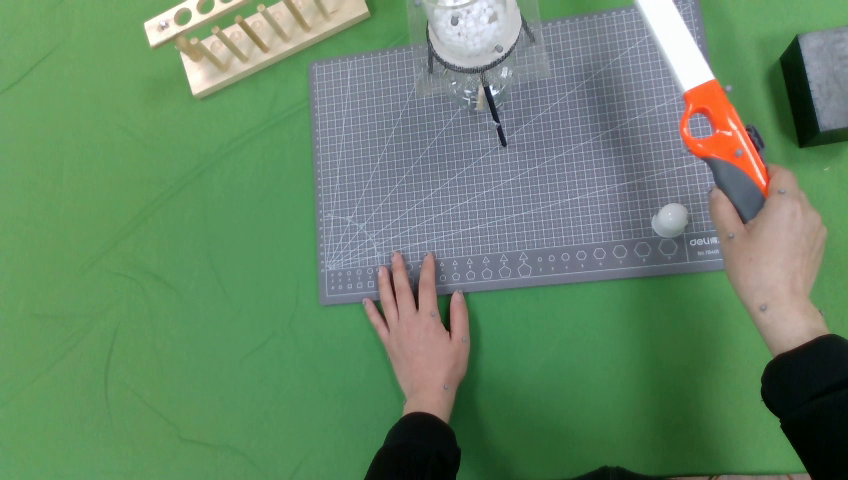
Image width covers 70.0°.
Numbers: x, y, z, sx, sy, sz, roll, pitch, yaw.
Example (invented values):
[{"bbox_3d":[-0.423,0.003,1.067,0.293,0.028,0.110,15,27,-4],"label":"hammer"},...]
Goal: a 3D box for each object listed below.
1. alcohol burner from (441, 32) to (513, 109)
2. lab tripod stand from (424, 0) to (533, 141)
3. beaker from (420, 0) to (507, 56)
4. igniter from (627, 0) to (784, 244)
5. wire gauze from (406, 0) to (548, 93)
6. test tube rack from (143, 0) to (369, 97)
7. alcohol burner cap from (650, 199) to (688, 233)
[{"bbox_3d":[0.054,-0.184,0.636,0.078,0.120,0.077,-2,80,10],"label":"alcohol burner"},{"bbox_3d":[0.059,-0.190,0.625,0.148,0.132,0.148,-1,82,10],"label":"lab tripod stand"},{"bbox_3d":[0.030,-0.209,0.516,0.084,0.101,0.074,7,83,13],"label":"beaker"},{"bbox_3d":[0.243,-0.127,0.538,0.057,0.025,0.275,-24,74,14],"label":"igniter"},{"bbox_3d":[0.046,-0.201,0.562,0.125,0.011,0.121,-6,84,8],"label":"wire gauze"},{"bbox_3d":[-0.196,-0.264,0.719,0.242,0.085,0.066,-23,77,8],"label":"test tube rack"},{"bbox_3d":[0.247,-0.026,0.608,0.034,0.048,0.034,-1,82,11],"label":"alcohol burner cap"}]
